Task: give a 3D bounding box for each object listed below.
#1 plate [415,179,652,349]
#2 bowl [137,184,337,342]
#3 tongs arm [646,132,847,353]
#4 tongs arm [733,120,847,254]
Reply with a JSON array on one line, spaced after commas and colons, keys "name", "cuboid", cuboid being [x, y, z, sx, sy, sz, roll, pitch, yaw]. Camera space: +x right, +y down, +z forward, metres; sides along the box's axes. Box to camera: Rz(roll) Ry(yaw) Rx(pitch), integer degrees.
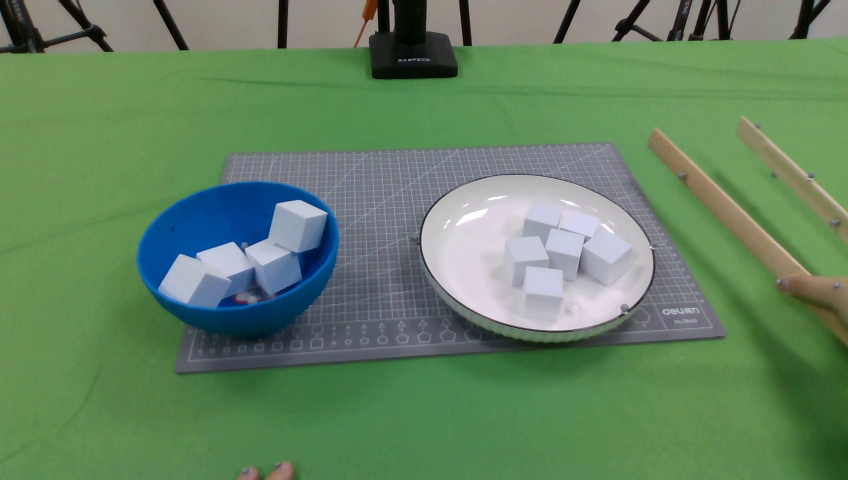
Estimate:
[{"name": "plate", "cuboid": [0.096, 0.020, 0.547, 0.208, 0.039, 0.205, 2, 42, -1]}, {"name": "bowl", "cuboid": [-0.143, 0.030, 0.493, 0.151, 0.077, 0.150, 2, 42, -1]}, {"name": "tongs arm", "cuboid": [0.308, 0.017, 0.524, 0.028, 0.028, 0.383, -9, 44, -18]}, {"name": "tongs arm", "cuboid": [0.367, 0.007, 0.535, 0.051, 0.027, 0.380, -7, 44, -11]}]
